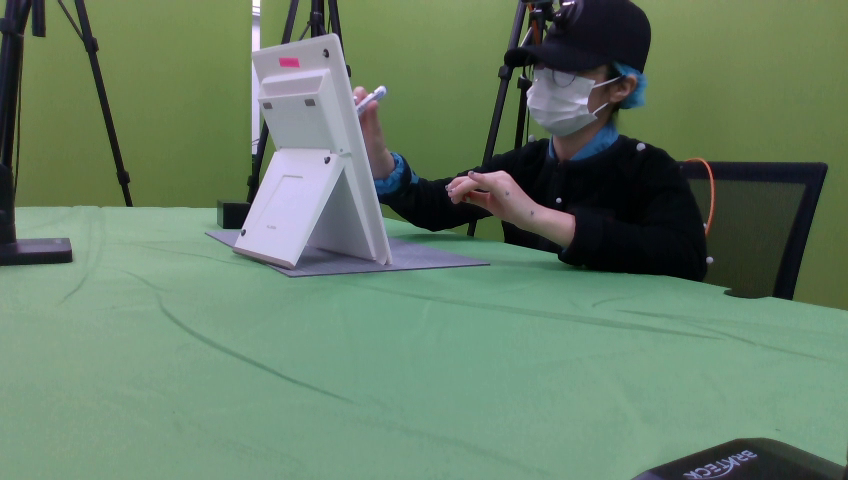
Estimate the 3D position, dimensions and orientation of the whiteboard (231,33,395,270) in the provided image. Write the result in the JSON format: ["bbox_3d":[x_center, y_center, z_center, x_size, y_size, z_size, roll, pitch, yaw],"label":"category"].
[{"bbox_3d":[-0.193,-0.094,0.805,0.144,0.305,0.216,-28,25,-35],"label":"whiteboard"}]

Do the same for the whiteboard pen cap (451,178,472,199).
[{"bbox_3d":[0.054,-0.075,0.876,0.017,0.017,0.032,-5,42,-45],"label":"whiteboard pen cap"}]

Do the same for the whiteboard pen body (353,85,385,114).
[{"bbox_3d":[-0.096,-0.207,0.923,0.017,0.017,0.141,6,34,25],"label":"whiteboard pen body"}]
